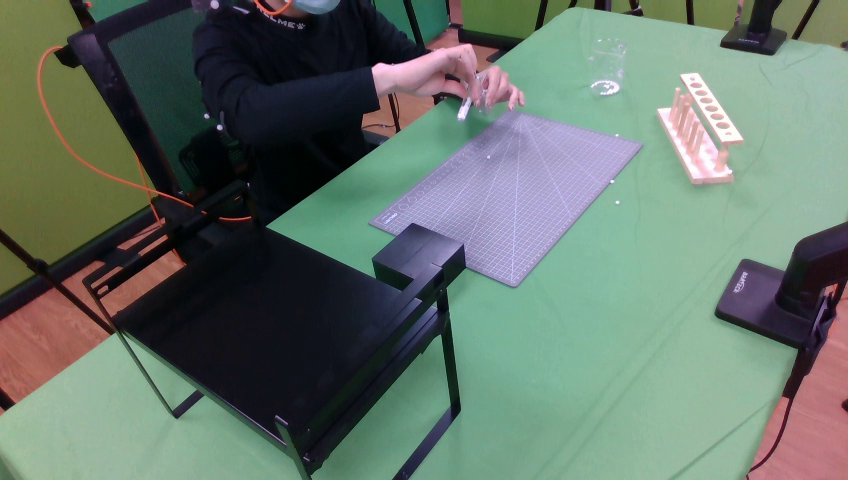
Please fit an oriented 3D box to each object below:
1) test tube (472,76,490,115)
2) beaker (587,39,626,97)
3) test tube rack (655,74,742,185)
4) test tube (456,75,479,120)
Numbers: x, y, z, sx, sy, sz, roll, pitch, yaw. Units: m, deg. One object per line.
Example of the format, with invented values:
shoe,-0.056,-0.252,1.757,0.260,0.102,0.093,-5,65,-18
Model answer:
test tube,0.107,-0.267,1.128,0.017,0.151,0.017,-2,79,13
beaker,0.386,-0.361,1.280,0.074,0.101,0.083,-22,43,-15
test tube rack,0.488,-0.205,1.093,0.067,0.085,0.241,-3,41,5
test tube,0.073,-0.236,0.999,0.017,0.017,0.150,4,39,13
